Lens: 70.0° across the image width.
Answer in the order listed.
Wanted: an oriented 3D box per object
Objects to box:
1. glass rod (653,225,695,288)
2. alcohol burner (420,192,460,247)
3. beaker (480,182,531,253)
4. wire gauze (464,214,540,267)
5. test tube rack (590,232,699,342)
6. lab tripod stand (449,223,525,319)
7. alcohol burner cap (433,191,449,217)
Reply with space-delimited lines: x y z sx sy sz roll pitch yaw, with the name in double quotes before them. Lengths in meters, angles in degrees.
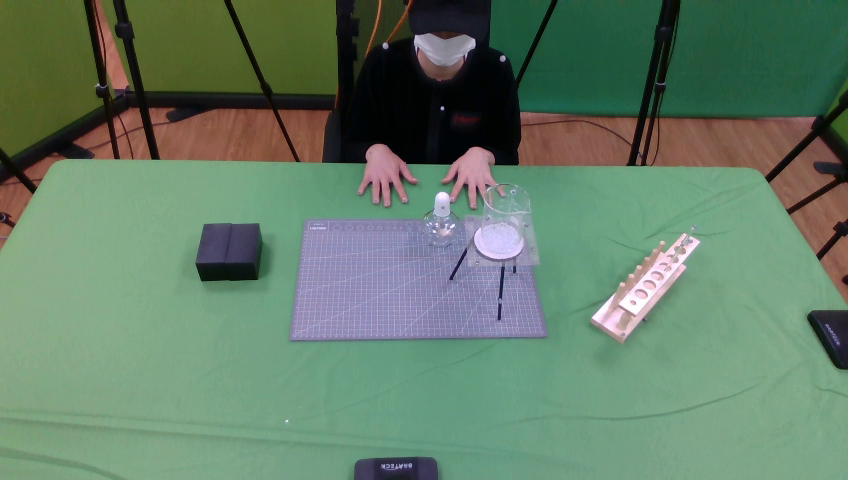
"glass rod" 0.432 0.037 1.057 0.008 0.200 0.008 1 54 -1
"alcohol burner" 0.032 -0.045 1.176 0.078 0.120 0.077 2 44 -1
"beaker" 0.133 -0.033 0.998 0.083 0.101 0.074 26 51 22
"wire gauze" 0.131 -0.001 1.035 0.121 0.011 0.124 1 44 -3
"test tube rack" 0.407 0.074 1.112 0.066 0.085 0.242 35 53 26
"lab tripod stand" 0.120 0.046 1.080 0.148 0.132 0.147 1 47 -1
"alcohol burner cap" 0.033 -0.070 1.150 0.034 0.048 0.033 0 45 0
